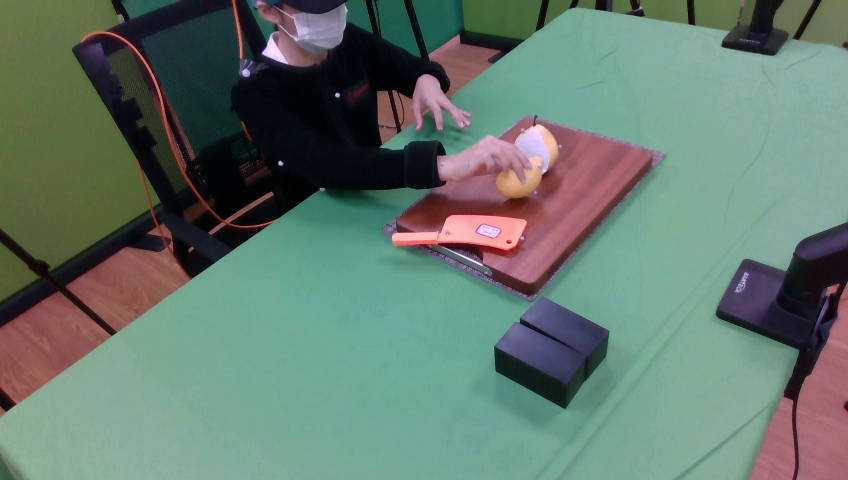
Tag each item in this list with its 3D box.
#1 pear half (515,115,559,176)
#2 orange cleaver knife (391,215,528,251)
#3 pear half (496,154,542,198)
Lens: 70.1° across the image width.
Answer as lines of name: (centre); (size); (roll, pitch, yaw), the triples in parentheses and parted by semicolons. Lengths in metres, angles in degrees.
pear half: (0.197, -0.169, 1.033); (0.076, 0.110, 0.056); (22, 48, 26)
orange cleaver knife: (0.055, -0.013, 0.942); (0.211, 0.012, 0.077); (0, 45, 14)
pear half: (0.159, -0.099, 0.975); (0.088, 0.071, 0.031); (-45, 37, 26)
